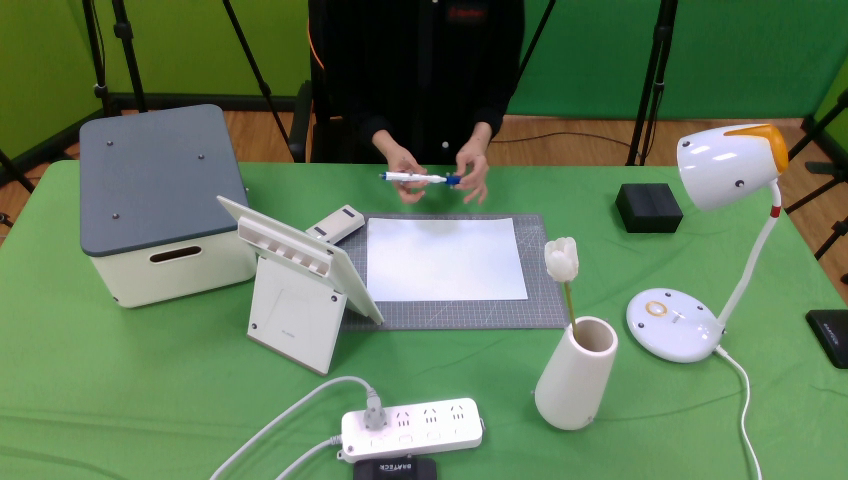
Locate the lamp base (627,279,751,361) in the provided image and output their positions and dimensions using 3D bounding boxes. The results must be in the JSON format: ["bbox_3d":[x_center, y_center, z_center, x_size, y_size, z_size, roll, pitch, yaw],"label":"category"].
[{"bbox_3d":[0.460,0.100,1.027,0.178,0.181,0.160,27,51,17],"label":"lamp base"}]

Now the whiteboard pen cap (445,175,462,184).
[{"bbox_3d":[0.058,-0.119,1.204,0.033,0.018,0.018,-3,44,-30],"label":"whiteboard pen cap"}]

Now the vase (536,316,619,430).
[{"bbox_3d":[0.229,0.200,0.901,0.098,0.201,0.097,3,46,-3],"label":"vase"}]

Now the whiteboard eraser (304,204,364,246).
[{"bbox_3d":[-0.175,-0.022,1.188,0.055,0.042,0.112,36,54,26],"label":"whiteboard eraser"}]

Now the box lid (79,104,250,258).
[{"bbox_3d":[-0.467,-0.121,1.075,0.264,0.015,0.369,-13,49,-17],"label":"box lid"}]

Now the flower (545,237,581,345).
[{"bbox_3d":[0.213,0.137,0.846,0.038,0.364,0.044,22,55,40],"label":"flower"}]

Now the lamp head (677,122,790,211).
[{"bbox_3d":[0.423,-0.104,0.819,0.122,0.113,0.112,-13,33,40],"label":"lamp head"}]

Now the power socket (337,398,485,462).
[{"bbox_3d":[-0.018,0.285,0.914,0.227,0.033,0.071,-4,46,-8],"label":"power socket"}]

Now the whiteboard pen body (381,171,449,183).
[{"bbox_3d":[-0.015,-0.121,1.174,0.141,0.017,0.017,2,45,-21],"label":"whiteboard pen body"}]

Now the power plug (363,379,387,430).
[{"bbox_3d":[-0.072,0.252,0.911,0.035,0.053,0.072,3,40,0],"label":"power plug"}]

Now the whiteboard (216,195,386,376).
[{"bbox_3d":[-0.212,0.093,0.939,0.216,0.307,0.143,24,70,17],"label":"whiteboard"}]

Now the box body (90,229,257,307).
[{"bbox_3d":[-0.471,-0.070,1.131,0.254,0.161,0.361,-14,49,-17],"label":"box body"}]
